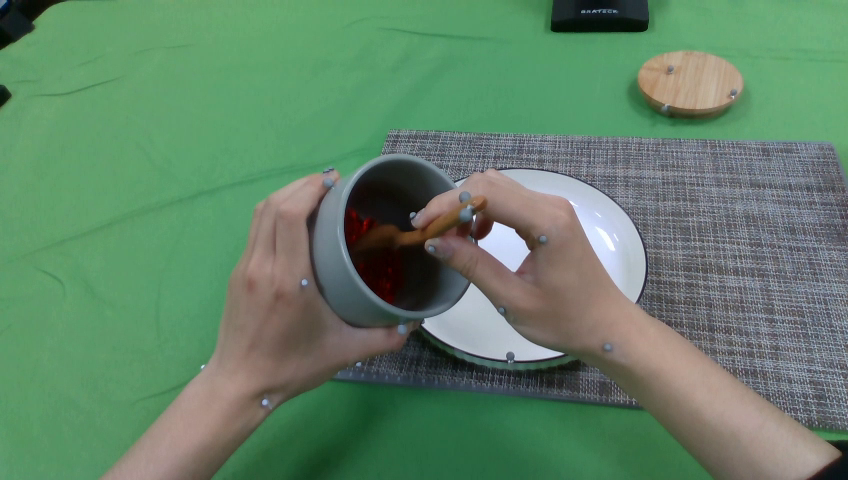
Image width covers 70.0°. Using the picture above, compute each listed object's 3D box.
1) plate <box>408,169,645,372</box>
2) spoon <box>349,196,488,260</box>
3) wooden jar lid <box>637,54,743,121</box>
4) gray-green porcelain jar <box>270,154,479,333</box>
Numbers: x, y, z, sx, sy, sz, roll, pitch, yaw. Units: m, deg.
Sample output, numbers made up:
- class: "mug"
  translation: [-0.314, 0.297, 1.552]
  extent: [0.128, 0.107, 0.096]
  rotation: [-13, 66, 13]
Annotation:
- class: "plate"
  translation: [0.076, 0.024, 0.513]
  extent: [0.207, 0.039, 0.205]
  rotation: [-4, 49, 5]
- class: "spoon"
  translation: [-0.007, -0.004, 0.367]
  extent: [0.042, 0.021, 0.193]
  rotation: [-24, 6, -23]
- class: "wooden jar lid"
  translation: [0.289, -0.167, 0.663]
  extent: [0.108, 0.021, 0.107]
  rotation: [-4, 50, 5]
- class: "gray-green porcelain jar"
  translation: [-0.041, 0.010, 0.423]
  extent: [0.126, 0.106, 0.105]
  rotation: [-19, 30, 52]
